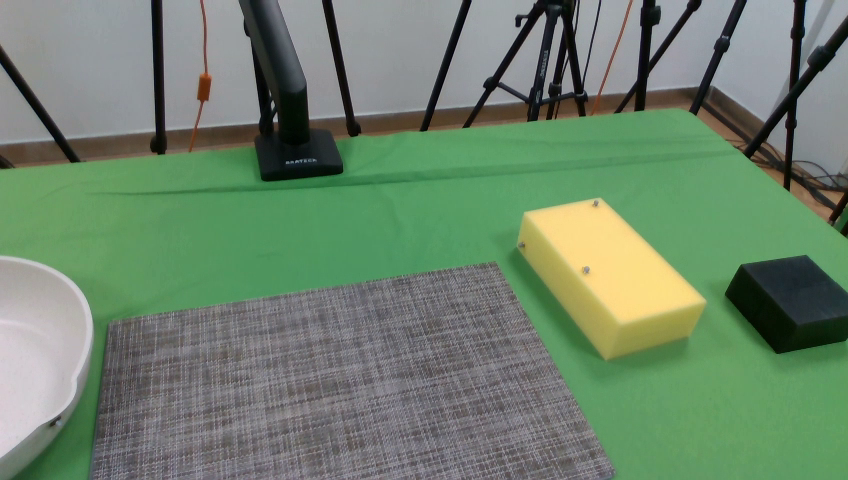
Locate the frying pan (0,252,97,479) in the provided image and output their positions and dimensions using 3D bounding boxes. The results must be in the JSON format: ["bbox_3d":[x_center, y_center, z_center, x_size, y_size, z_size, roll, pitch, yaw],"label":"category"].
[{"bbox_3d":[-0.466,0.179,0.451,0.306,0.103,0.485,11,32,7],"label":"frying pan"}]

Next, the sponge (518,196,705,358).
[{"bbox_3d":[0.217,0.036,0.735,0.118,0.061,0.204,-11,43,-20],"label":"sponge"}]
